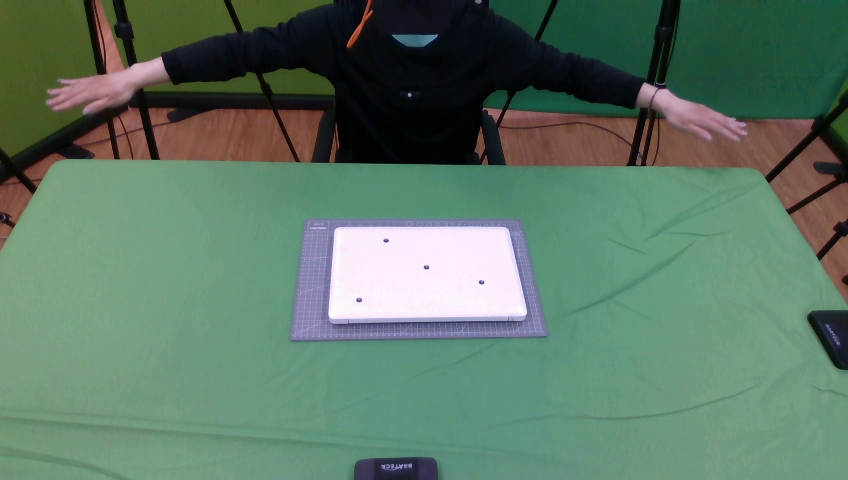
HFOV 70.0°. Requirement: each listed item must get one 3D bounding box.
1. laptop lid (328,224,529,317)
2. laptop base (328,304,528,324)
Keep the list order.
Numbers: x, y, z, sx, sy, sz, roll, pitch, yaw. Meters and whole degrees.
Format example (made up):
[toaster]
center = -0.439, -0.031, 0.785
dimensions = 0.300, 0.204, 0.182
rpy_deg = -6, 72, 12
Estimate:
[laptop lid]
center = 0.005, 0.051, 1.130
dimensions = 0.357, 0.013, 0.240
rpy_deg = 1, 44, -3
[laptop base]
center = 0.005, 0.061, 1.137
dimensions = 0.355, 0.023, 0.234
rpy_deg = 0, 43, -4
